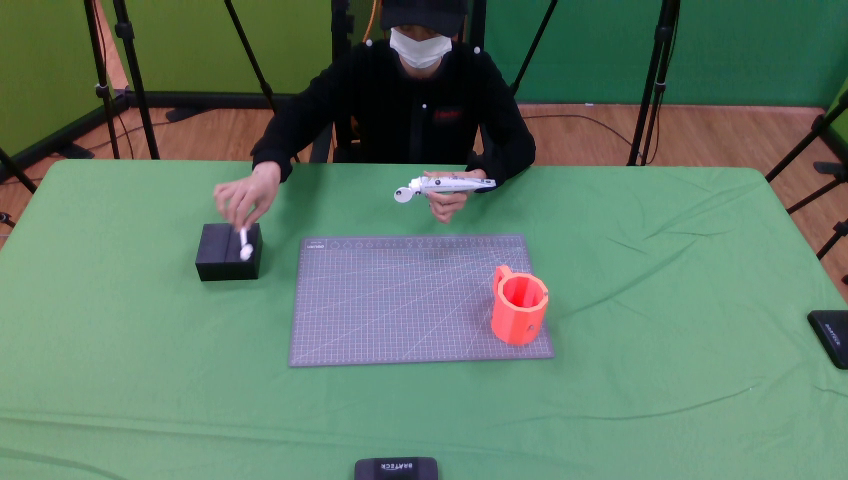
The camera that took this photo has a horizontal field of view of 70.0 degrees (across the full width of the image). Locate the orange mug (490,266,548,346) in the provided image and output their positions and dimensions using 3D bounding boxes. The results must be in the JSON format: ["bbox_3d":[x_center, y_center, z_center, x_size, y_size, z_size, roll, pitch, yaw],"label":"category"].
[{"bbox_3d":[0.155,0.107,1.051,0.083,0.101,0.125,-15,53,-18],"label":"orange mug"}]

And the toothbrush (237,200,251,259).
[{"bbox_3d":[-0.321,-0.025,1.078,0.014,0.017,0.180,19,26,-31],"label":"toothbrush"}]

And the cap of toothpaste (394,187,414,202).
[{"bbox_3d":[-0.038,-0.087,1.136,0.037,0.037,0.011,-6,44,-10],"label":"cap of toothpaste"}]

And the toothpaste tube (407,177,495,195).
[{"bbox_3d":[0.051,-0.105,1.145,0.165,0.034,0.055,-3,22,3],"label":"toothpaste tube"}]
